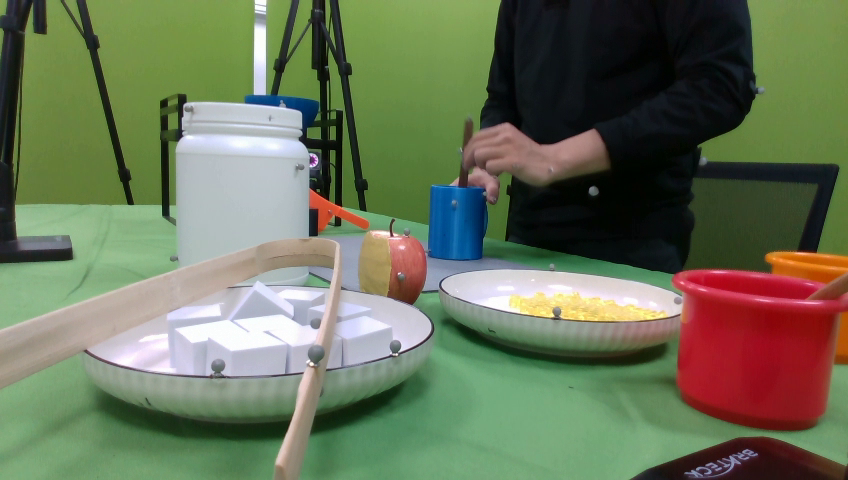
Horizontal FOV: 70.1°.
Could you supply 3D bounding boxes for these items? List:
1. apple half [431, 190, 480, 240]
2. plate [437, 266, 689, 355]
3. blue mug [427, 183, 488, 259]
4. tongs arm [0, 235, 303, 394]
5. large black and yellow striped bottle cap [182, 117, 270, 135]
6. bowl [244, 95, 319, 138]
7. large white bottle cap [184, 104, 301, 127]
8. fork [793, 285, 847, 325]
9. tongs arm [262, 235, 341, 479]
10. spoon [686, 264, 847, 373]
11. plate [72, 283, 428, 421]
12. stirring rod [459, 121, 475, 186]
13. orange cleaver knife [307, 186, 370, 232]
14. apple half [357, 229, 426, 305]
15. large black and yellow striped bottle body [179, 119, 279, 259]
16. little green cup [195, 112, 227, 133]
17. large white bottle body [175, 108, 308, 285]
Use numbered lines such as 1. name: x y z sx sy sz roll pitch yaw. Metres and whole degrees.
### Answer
1. apple half: 0.046 -0.040 0.903 0.081 0.081 0.032 2 17 -4
2. plate: 0.114 0.057 0.517 0.209 0.038 0.209 3 7 0
3. blue mug: 0.059 -0.031 0.907 0.082 0.106 0.117 9 10 42
4. tongs arm: -0.157 0.038 0.351 0.028 0.028 0.388 -3 8 12
5. large black and yellow striped bottle cap: -0.272 -0.156 0.833 0.115 0.019 0.115 1 7 0
6. bowl: -0.293 -0.251 1.249 0.151 0.077 0.151 2 8 0
7. large white bottle cap: -0.184 -0.126 0.618 0.115 0.018 0.115 2 8 0
8. fork: 0.331 0.018 0.442 0.028 0.018 0.207 -2 -36 -15
9. tongs arm: -0.074 0.039 0.349 0.051 0.026 0.384 -2 10 -3
10. spoon: 0.214 0.032 0.328 0.042 0.021 0.193 -3 -35 -26
11. plate: -0.102 0.066 0.381 0.208 0.039 0.207 2 7 0
12. stirring rod: 0.060 -0.091 0.912 0.014 0.176 0.006 12 13 24
13. orange cleaver knife: -0.197 -0.056 1.141 0.212 0.077 0.012 29 0 -34
14. apple half: -0.026 0.028 0.570 0.053 0.074 0.080 3 2 -28
15. large black and yellow striped bottle body: -0.271 -0.074 0.846 0.131 0.184 0.130 0 9 0
16. little green cup: -0.412 -0.227 1.171 0.061 0.038 0.061 3 8 0
17. large white bottle body: -0.188 -0.042 0.630 0.131 0.184 0.130 2 8 0
